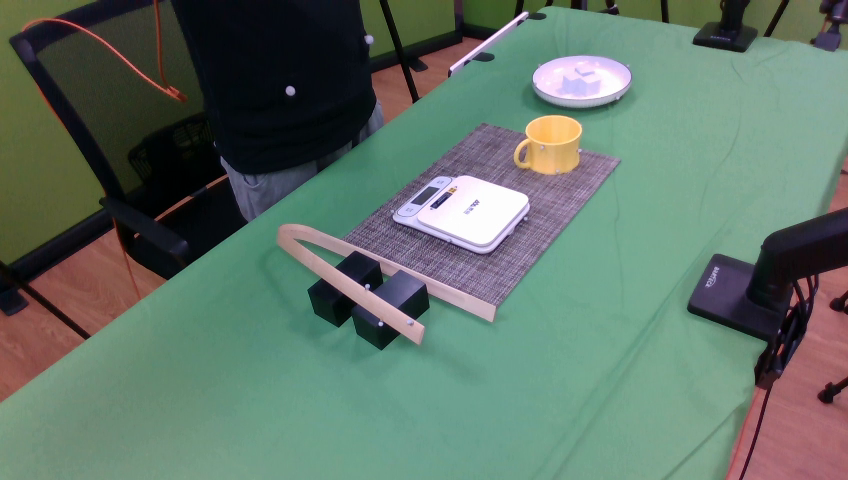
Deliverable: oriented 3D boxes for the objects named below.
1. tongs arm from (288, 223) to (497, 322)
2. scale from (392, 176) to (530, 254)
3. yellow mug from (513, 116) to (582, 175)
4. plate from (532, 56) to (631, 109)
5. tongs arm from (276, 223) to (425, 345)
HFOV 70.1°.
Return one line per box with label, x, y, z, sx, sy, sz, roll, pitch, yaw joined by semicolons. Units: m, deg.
tongs arm;-0.060;0.043;0.918;0.384;0.028;0.028;21;24;29
scale;0.060;-0.050;1.006;0.199;0.032;0.149;22;48;30
yellow mug;0.220;-0.168;1.094;0.131;0.064;0.099;-21;42;-15
plate;0.336;-0.336;1.301;0.207;0.039;0.206;-4;41;4
tongs arm;-0.114;0.049;0.857;0.051;0.026;0.381;-7;24;-44
